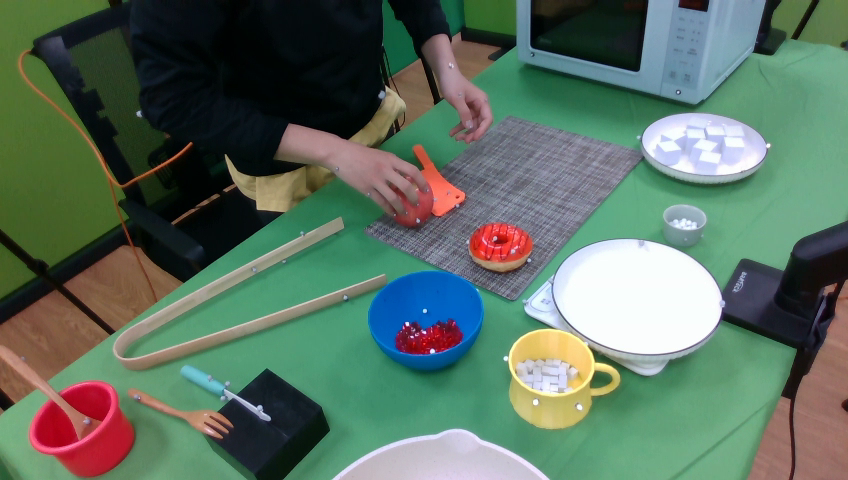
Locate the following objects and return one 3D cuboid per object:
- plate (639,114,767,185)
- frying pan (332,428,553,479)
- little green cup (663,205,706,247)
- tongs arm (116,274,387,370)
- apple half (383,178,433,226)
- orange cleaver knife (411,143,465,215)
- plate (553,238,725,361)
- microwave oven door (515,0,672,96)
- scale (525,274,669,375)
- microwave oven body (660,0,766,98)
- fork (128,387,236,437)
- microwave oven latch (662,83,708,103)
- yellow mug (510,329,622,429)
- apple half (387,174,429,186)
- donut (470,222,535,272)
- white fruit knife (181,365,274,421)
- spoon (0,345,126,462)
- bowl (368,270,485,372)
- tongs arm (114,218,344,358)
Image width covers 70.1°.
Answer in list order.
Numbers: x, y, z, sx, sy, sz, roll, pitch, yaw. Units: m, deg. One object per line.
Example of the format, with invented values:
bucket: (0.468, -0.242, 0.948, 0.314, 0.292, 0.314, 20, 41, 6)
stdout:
plate: (0.489, -0.157, 1.074, 0.207, 0.039, 0.206, -4, 40, 4)
frying pan: (-0.089, 0.306, 0.564, 0.487, 0.103, 0.306, 10, 41, 7)
little green cup: (0.396, -0.021, 0.926, 0.061, 0.039, 0.061, -4, 40, 4)
tongs arm: (-0.237, 0.115, 0.870, 0.389, 0.028, 0.028, -18, 49, -13)
apple half: (-0.023, -0.056, 0.983, 0.081, 0.075, 0.053, -7, 41, -12)
orange cleaver knife: (0.005, -0.113, 1.102, 0.077, 0.012, 0.209, -23, 45, -10)
plate: (0.273, 0.078, 0.783, 0.209, 0.038, 0.208, -4, 41, 4)
microwave oven door: (0.343, -0.455, 1.259, 0.353, 0.245, 0.039, 26, 51, 33)
scale: (0.254, 0.091, 0.821, 0.199, 0.032, 0.149, 28, 51, 35)
microwave oven body: (0.472, -0.513, 1.317, 0.438, 0.261, 0.327, 26, 51, 34)
fork: (-0.305, 0.207, 0.744, 0.206, 0.019, 0.028, 3, 41, 36)
microwave oven latch: (0.517, -0.296, 1.204, 0.078, 0.029, 0.030, 28, 52, 35)
yellow mug: (0.168, 0.164, 0.721, 0.130, 0.064, 0.099, 0, 40, 8)
apple half: (-0.030, -0.081, 1.013, 0.081, 0.081, 0.032, -12, 43, -5)
donut: (0.119, 0.009, 0.923, 0.099, 0.048, 0.098, -4, 38, 3)
white fruit knife: (-0.245, 0.187, 0.747, 0.205, 0.027, 0.016, 9, 41, 40)
spoon: (-0.434, 0.192, 0.720, 0.194, 0.021, 0.042, 47, 53, -7)
bowl: (0.007, 0.118, 0.791, 0.151, 0.077, 0.150, -4, 40, 4)
tongs arm: (-0.280, 0.067, 0.927, 0.386, 0.026, 0.050, -29, 49, -23)
